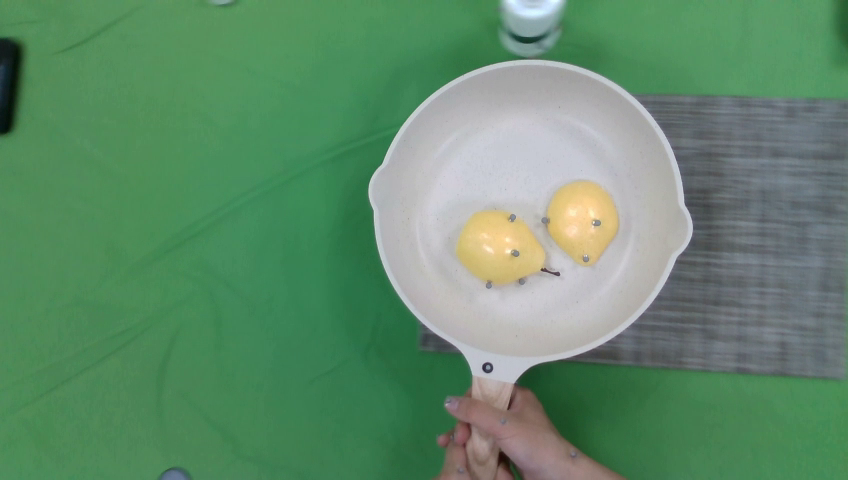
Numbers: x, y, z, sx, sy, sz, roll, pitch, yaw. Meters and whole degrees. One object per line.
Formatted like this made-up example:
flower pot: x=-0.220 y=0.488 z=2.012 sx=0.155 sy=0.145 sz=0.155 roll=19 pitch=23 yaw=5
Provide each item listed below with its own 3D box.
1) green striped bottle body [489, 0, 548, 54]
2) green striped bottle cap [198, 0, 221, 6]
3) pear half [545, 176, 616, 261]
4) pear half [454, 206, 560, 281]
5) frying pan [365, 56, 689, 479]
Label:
green striped bottle body: x=0.100 y=-0.251 z=0.644 sx=0.063 sy=0.119 sz=0.063 roll=-1 pitch=84 yaw=6
green striped bottle cap: x=-0.264 y=-0.310 z=0.738 sx=0.044 sy=0.020 sz=0.044 roll=-1 pitch=84 yaw=7
pear half: x=0.158 y=-0.024 z=0.611 sx=0.070 sy=0.031 sz=0.087 roll=-8 pitch=80 yaw=14
pear half: x=0.086 y=0.009 z=0.610 sx=0.109 sy=0.056 sz=0.076 roll=21 pitch=94 yaw=10
frying pan: x=0.075 y=0.068 z=0.582 sx=0.306 sy=0.103 sz=0.486 roll=10 pitch=78 yaw=12
